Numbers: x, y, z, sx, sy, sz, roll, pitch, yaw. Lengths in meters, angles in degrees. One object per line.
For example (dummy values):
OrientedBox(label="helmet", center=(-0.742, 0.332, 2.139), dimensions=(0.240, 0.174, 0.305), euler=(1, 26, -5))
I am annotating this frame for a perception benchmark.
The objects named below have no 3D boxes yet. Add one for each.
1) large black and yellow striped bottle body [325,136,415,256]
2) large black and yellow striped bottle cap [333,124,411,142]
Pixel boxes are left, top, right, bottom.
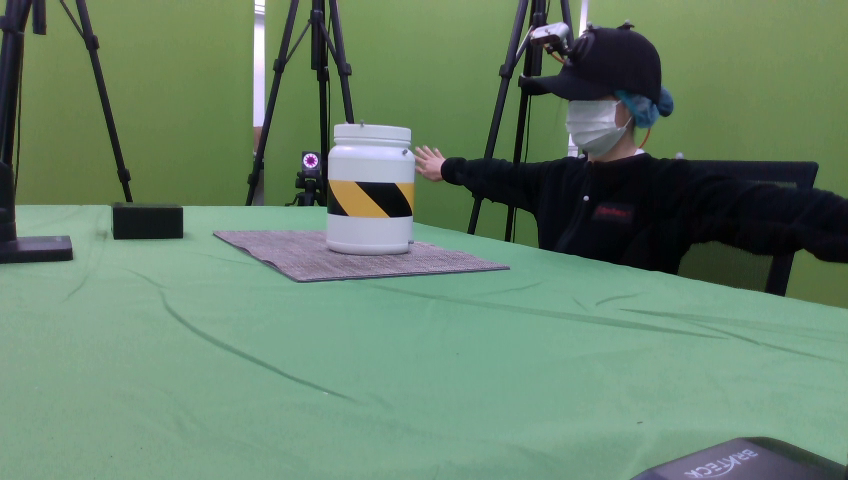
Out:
OrientedBox(label="large black and yellow striped bottle body", center=(-0.080, -0.074, 0.905), dimensions=(0.131, 0.184, 0.130), euler=(3, 7, 0))
OrientedBox(label="large black and yellow striped bottle cap", center=(-0.077, -0.157, 0.896), dimensions=(0.115, 0.019, 0.115), euler=(5, 7, 0))
